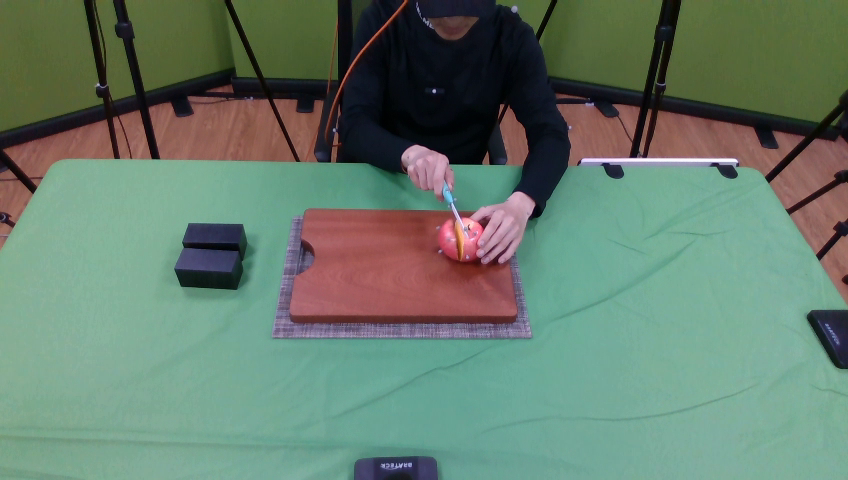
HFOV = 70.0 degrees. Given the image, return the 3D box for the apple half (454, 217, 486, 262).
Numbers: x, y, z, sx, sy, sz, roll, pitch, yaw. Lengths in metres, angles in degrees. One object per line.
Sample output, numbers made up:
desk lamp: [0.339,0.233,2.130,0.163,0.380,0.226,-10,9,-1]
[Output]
apple half: [0.088,0.000,1.126,0.053,0.075,0.080,-3,43,-12]

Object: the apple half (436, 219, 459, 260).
apple half: [0.041,0.005,1.122,0.033,0.082,0.081,-14,47,2]

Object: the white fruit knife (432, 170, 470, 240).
white fruit knife: [0.051,-0.068,1.118,0.016,0.027,0.206,-18,45,-6]
